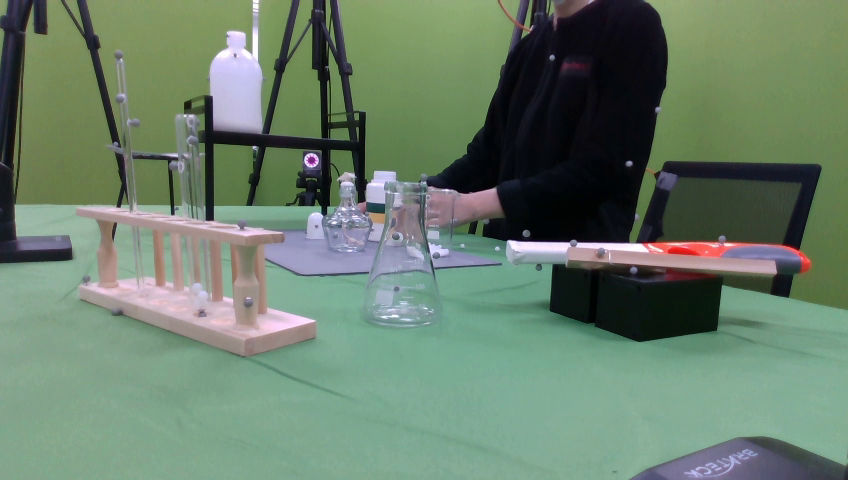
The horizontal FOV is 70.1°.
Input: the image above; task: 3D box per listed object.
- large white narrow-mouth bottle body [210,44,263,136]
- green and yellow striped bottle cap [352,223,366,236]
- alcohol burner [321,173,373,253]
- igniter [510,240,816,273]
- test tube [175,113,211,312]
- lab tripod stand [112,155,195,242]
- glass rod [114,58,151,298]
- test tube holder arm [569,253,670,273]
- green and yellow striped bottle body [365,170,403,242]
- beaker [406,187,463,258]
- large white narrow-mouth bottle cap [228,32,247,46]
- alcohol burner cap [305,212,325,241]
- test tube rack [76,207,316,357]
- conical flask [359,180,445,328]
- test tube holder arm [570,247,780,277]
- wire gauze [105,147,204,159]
[{"bbox_3d":[-0.369,-0.305,1.194,0.102,0.194,0.102,3,8,0],"label":"large white narrow-mouth bottle body"},{"bbox_3d":[-0.113,-0.021,1.140,0.045,0.020,0.045,4,7,0],"label":"green and yellow striped bottle cap"},{"bbox_3d":[-0.115,-0.041,0.905,0.078,0.119,0.078,1,6,0],"label":"alcohol burner"},{"bbox_3d":[0.220,0.015,0.565,0.277,0.025,0.057,2,16,0],"label":"igniter"},{"bbox_3d":[-0.174,-0.020,0.458,0.017,0.150,0.017,-3,5,1],"label":"test tube"},{"bbox_3d":[-0.405,-0.064,0.931,0.148,0.131,0.148,1,6,0],"label":"lab tripod stand"},{"bbox_3d":[-0.236,-0.044,0.492,0.008,0.199,0.008,0,15,0],"label":"glass rod"},{"bbox_3d":[0.172,0.019,0.532,0.088,0.015,0.010,3,-23,3],"label":"test tube holder arm"},{"bbox_3d":[-0.068,-0.058,1.036,0.063,0.119,0.063,2,7,0],"label":"green and yellow striped bottle body"},{"bbox_3d":[0.013,-0.026,0.892,0.084,0.100,0.074,3,8,-2],"label":"beaker"},{"bbox_3d":[-0.364,-0.390,1.180,0.038,0.024,0.037,3,8,0],"label":"large white narrow-mouth bottle cap"},{"bbox_3d":[-0.185,-0.023,1.027,0.034,0.048,0.034,2,7,0],"label":"alcohol burner cap"},{"bbox_3d":[-0.196,0.023,0.499,0.241,0.085,0.067,8,9,36],"label":"test tube rack"},{"bbox_3d":[-0.017,0.010,0.522,0.075,0.122,0.075,2,7,0],"label":"conical flask"},{"bbox_3d":[0.217,0.019,0.525,0.178,0.015,0.013,3,-23,3],"label":"test tube holder arm"},{"bbox_3d":[-0.407,-0.131,0.928,0.125,0.011,0.121,2,6,-11],"label":"wire gauze"}]
